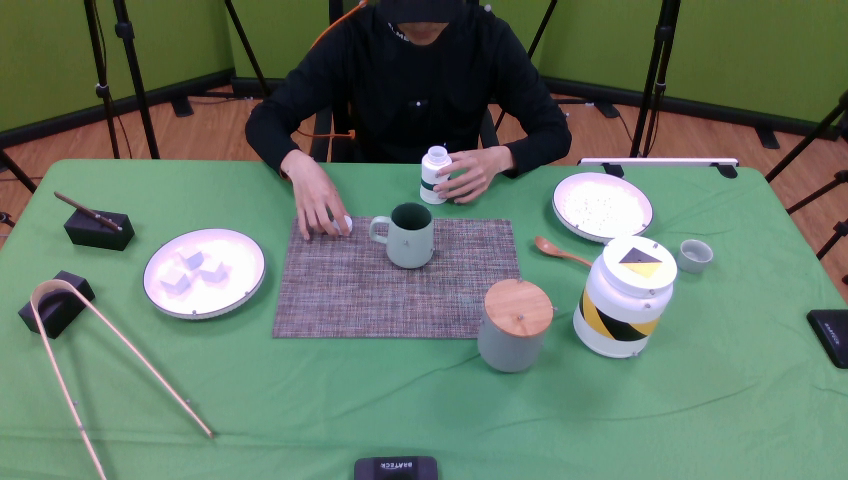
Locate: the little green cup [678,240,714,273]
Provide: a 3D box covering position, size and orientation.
[{"bbox_3d":[0.530,0.033,1.190,0.061,0.039,0.061,2,46,-1],"label":"little green cup"}]

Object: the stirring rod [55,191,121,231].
[{"bbox_3d":[-0.632,-0.055,1.138,0.175,0.014,0.006,24,50,19],"label":"stirring rod"}]

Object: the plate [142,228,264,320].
[{"bbox_3d":[-0.394,0.064,1.095,0.208,0.039,0.206,2,46,-2],"label":"plate"}]

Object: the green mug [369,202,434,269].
[{"bbox_3d":[-0.042,-0.010,1.140,0.125,0.105,0.092,7,46,4],"label":"green mug"}]

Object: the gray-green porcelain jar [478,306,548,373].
[{"bbox_3d":[0.144,0.148,0.989,0.106,0.127,0.105,2,50,-2],"label":"gray-green porcelain jar"}]

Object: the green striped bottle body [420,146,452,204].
[{"bbox_3d":[0.025,-0.137,1.263,0.063,0.120,0.063,2,45,-2],"label":"green striped bottle body"}]

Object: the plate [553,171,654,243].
[{"bbox_3d":[0.373,-0.066,1.275,0.209,0.038,0.208,2,46,-2],"label":"plate"}]

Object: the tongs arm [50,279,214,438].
[{"bbox_3d":[-0.459,0.178,0.949,0.386,0.028,0.028,37,60,17],"label":"tongs arm"}]

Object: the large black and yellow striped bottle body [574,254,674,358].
[{"bbox_3d":[0.335,0.096,1.014,0.131,0.185,0.130,2,46,-2],"label":"large black and yellow striped bottle body"}]

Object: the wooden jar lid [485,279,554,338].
[{"bbox_3d":[0.147,0.108,0.940,0.108,0.021,0.107,4,47,-4],"label":"wooden jar lid"}]

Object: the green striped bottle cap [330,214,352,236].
[{"bbox_3d":[-0.167,-0.030,1.214,0.044,0.020,0.044,2,56,-3],"label":"green striped bottle cap"}]

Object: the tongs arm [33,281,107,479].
[{"bbox_3d":[-0.517,0.214,0.910,0.051,0.026,0.383,-29,63,-26],"label":"tongs arm"}]

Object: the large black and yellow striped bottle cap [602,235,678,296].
[{"bbox_3d":[0.340,0.037,0.955,0.115,0.019,0.114,2,47,-1],"label":"large black and yellow striped bottle cap"}]

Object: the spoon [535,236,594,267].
[{"bbox_3d":[0.303,0.040,1.178,0.193,0.022,0.041,25,31,19],"label":"spoon"}]
